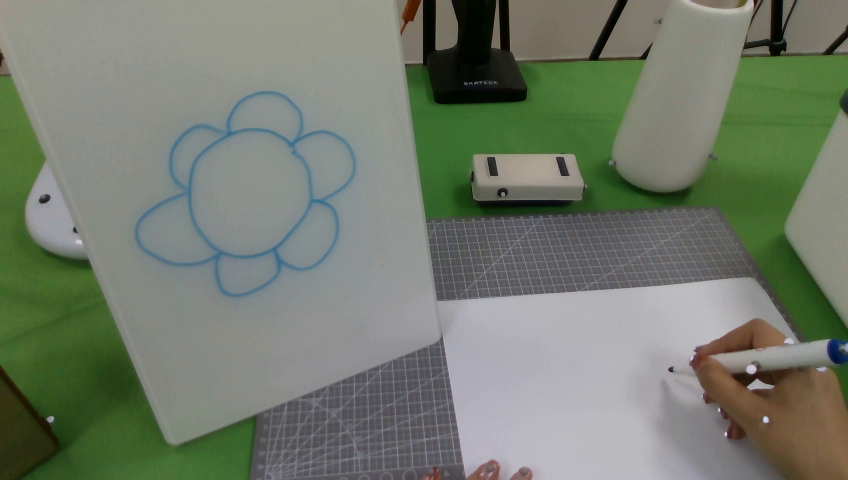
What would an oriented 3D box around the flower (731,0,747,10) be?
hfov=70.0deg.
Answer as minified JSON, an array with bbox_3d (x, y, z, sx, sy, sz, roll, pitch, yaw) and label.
[{"bbox_3d":[0.270,-0.194,0.541,0.044,0.363,0.038,-22,66,-32],"label":"flower"}]

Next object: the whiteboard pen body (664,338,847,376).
[{"bbox_3d":[0.218,0.083,0.415,0.017,0.141,0.017,7,72,-23],"label":"whiteboard pen body"}]

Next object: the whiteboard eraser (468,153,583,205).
[{"bbox_3d":[0.104,-0.062,0.629,0.113,0.042,0.055,-2,42,-3],"label":"whiteboard eraser"}]

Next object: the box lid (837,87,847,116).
[{"bbox_3d":[0.483,-0.006,0.394,0.263,0.015,0.367,-2,43,-4],"label":"box lid"}]

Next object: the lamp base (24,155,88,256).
[{"bbox_3d":[-0.313,-0.102,0.551,0.178,0.182,0.160,26,49,26],"label":"lamp base"}]

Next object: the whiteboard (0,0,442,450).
[{"bbox_3d":[-0.128,-0.043,0.450,0.218,0.308,0.142,-18,28,-18],"label":"whiteboard"}]

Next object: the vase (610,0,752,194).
[{"bbox_3d":[0.256,-0.144,0.608,0.098,0.202,0.097,2,44,-2],"label":"vase"}]

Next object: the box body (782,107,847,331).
[{"bbox_3d":[0.482,0.046,0.448,0.254,0.162,0.360,-2,44,-4],"label":"box body"}]

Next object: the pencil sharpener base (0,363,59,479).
[{"bbox_3d":[-0.300,0.104,0.391,0.076,0.108,0.061,32,52,27],"label":"pencil sharpener base"}]
